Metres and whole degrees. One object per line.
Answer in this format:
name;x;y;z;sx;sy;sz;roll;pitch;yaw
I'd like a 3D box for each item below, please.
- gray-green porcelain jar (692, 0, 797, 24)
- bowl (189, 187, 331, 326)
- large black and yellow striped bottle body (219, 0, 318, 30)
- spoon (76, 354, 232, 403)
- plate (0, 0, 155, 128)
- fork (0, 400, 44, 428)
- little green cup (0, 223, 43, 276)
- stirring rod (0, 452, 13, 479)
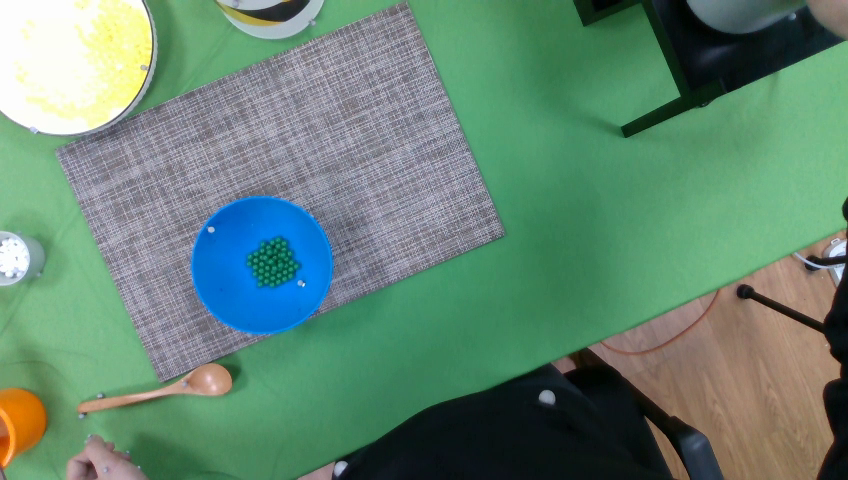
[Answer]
gray-green porcelain jar;0.279;-0.241;0.488;0.106;0.126;0.106;0;93;-1
bowl;-0.176;0.017;0.685;0.151;0.076;0.151;0;93;-2
large black and yellow striped bottle body;-0.178;-0.306;0.619;0.131;0.183;0.131;0;92;-2
spoon;-0.322;0.170;0.720;0.194;0.021;0.042;-12;107;-2
plate;-0.408;-0.230;0.688;0.209;0.038;0.209;0;93;-2
fork;-0.531;0.207;0.652;0.208;0.018;0.028;-6;96;-45
little green cup;-0.476;0.010;0.698;0.061;0.038;0.061;0;94;-1
stirring rod;-0.483;0.183;0.650;0.014;0.006;0.176;-22;94;0
